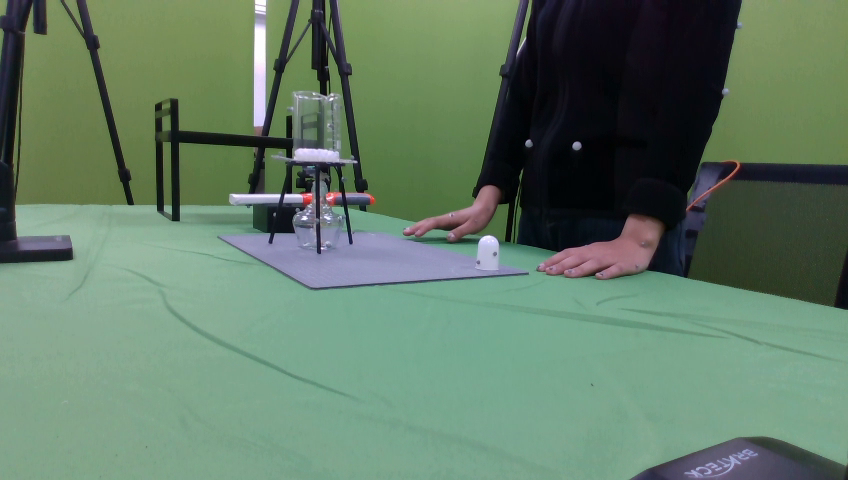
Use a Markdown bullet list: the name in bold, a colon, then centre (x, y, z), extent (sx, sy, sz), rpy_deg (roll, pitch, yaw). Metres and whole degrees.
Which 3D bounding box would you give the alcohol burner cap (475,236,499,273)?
- **alcohol burner cap**: centre (0.084, 0.018, 0.799), extent (0.034, 0.048, 0.034), rpy_deg (2, 7, 0)

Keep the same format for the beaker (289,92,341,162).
- **beaker**: centre (-0.160, -0.167, 0.902), extent (0.074, 0.100, 0.083), rpy_deg (-3, 9, -30)

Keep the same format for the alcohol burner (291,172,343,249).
- **alcohol burner**: centre (-0.162, -0.045, 0.922), extent (0.078, 0.119, 0.078), rpy_deg (5, 7, 0)

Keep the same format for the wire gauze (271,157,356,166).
- **wire gauze**: centre (-0.166, -0.120, 0.917), extent (0.125, 0.011, 0.121), rpy_deg (-2, 6, -8)

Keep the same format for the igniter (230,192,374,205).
- **igniter**: centre (-0.228, -0.079, 1.164), extent (0.278, 0.025, 0.057), rpy_deg (-2, 14, -30)

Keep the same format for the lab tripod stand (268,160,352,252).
- **lab tripod stand**: centre (-0.171, -0.055, 0.921), extent (0.148, 0.131, 0.148), rpy_deg (1, 8, 0)
